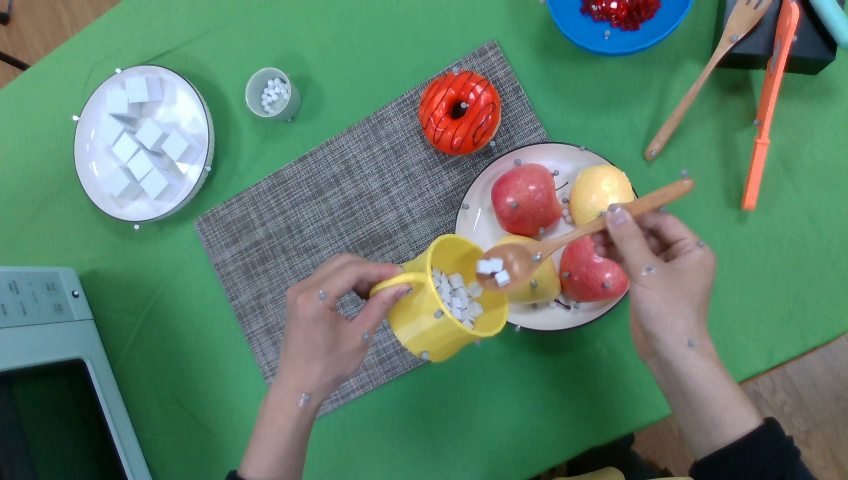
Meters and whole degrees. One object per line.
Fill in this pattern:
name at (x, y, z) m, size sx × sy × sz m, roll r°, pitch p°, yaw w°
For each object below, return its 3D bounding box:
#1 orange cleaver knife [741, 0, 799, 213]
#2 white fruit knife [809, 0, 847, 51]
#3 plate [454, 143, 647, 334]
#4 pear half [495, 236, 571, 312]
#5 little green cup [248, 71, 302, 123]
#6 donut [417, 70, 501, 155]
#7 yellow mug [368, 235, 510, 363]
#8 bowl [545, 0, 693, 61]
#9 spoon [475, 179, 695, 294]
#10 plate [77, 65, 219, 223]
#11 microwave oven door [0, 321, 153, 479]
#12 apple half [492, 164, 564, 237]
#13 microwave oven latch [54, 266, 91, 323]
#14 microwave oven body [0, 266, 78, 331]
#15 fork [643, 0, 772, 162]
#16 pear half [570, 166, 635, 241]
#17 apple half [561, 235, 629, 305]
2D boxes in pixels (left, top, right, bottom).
orange cleaver knife at (0.345, -0.133, 0.608) m, size 0.012 × 0.077 × 0.212 m, roll 9°, pitch 116°, yaw 19°
white fruit knife at (0.368, -0.270, 0.591) m, size 0.027 × 0.016 × 0.206 m, roll -22°, pitch 80°, yaw -17°
plate at (0.138, -0.002, 0.673) m, size 0.208 × 0.038 × 0.209 m, roll -1°, pitch 88°, yaw 14°
pear half at (0.117, 0.045, 0.663) m, size 0.109 × 0.056 × 0.076 m, roll 35°, pitch 101°, yaw 8°
little green cup at (-0.185, -0.177, 0.763) m, size 0.061 × 0.039 × 0.061 m, roll -1°, pitch 87°, yaw 15°
donut at (0.040, -0.146, 0.699) m, size 0.099 × 0.048 × 0.099 m, roll 0°, pitch 90°, yaw 16°
yellow mug at (0.009, 0.051, 0.538) m, size 0.064 × 0.132 × 0.099 m, roll -36°, pitch 56°, yaw 37°
bowl at (0.207, -0.258, 0.649) m, size 0.151 × 0.077 × 0.151 m, roll 0°, pitch 88°, yaw 14°
spoon at (0.129, -0.003, 0.504) m, size 0.193 × 0.022 × 0.041 m, roll -27°, pitch 78°, yaw 26°
plate at (-0.361, -0.124, 0.805) m, size 0.207 × 0.039 × 0.207 m, roll -1°, pitch 88°, yaw 14°
microwave oven door at (-0.413, 0.268, 0.680) m, size 0.039 × 0.245 × 0.354 m, roll -26°, pitch 82°, yaw 11°
apple half at (0.112, -0.043, 0.664) m, size 0.074 × 0.053 × 0.080 m, roll -11°, pitch 89°, yaw 14°
microwave oven latch at (-0.474, 0.074, 0.807) m, size 0.030 × 0.029 × 0.079 m, roll -23°, pitch 83°, yaw 11°
microwave oven body at (-0.557, 0.292, 0.720) m, size 0.326 × 0.261 × 0.440 m, roll -26°, pitch 83°, yaw 11°
fork at (0.287, -0.168, 0.621) m, size 0.028 × 0.018 × 0.208 m, roll 30°, pitch 116°, yaw 5°
pear half at (0.186, -0.034, 0.648) m, size 0.070 × 0.031 × 0.088 m, roll 4°, pitch 99°, yaw 38°
apple half at (0.175, 0.034, 0.646) m, size 0.081 × 0.033 × 0.081 m, roll 4°, pitch 98°, yaw 36°
